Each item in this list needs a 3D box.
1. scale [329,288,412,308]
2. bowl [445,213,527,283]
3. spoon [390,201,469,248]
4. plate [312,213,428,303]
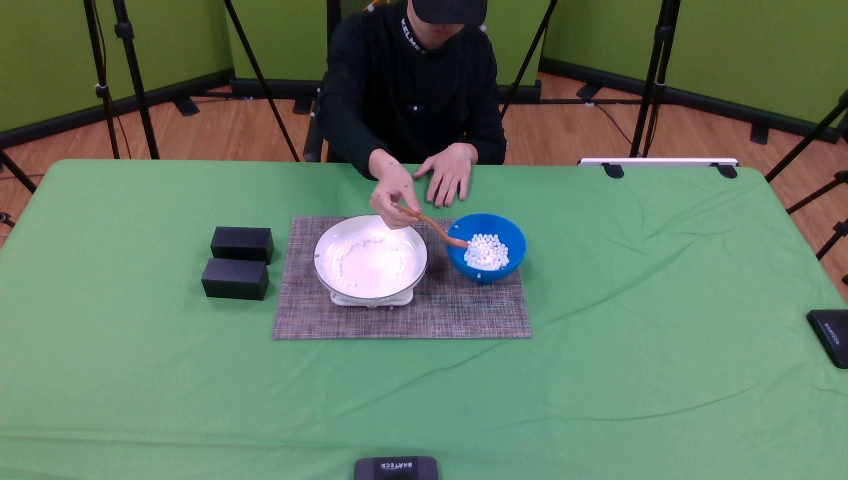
[{"bbox_3d":[-0.098,0.042,1.139,0.149,0.032,0.199,1,46,-4],"label":"scale"},{"bbox_3d":[0.111,0.028,1.137,0.151,0.077,0.150,2,46,-2],"label":"bowl"},{"bbox_3d":[0.012,-0.027,1.051,0.021,0.195,0.041,-54,39,3],"label":"spoon"},{"bbox_3d":[-0.097,0.036,1.100,0.209,0.038,0.208,2,46,-2],"label":"plate"}]
